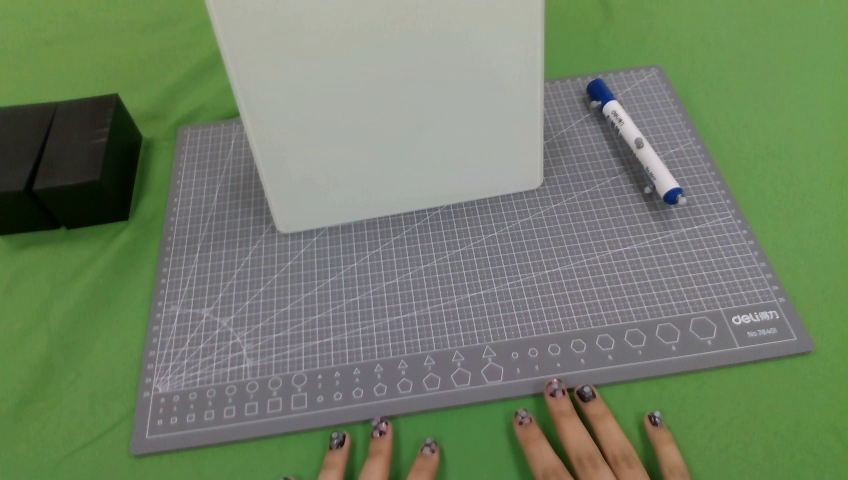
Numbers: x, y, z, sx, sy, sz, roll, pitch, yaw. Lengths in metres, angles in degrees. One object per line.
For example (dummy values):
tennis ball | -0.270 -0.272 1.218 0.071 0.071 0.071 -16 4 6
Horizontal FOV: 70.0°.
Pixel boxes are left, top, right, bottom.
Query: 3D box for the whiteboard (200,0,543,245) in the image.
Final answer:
whiteboard | -0.036 -0.177 0.450 0.217 0.308 0.142 -10 35 -3

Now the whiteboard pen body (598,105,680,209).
whiteboard pen body | 0.171 -0.079 0.503 0.017 0.017 0.139 -14 52 -7

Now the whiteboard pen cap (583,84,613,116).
whiteboard pen cap | 0.155 -0.123 0.539 0.018 0.018 0.033 -13 53 -7
